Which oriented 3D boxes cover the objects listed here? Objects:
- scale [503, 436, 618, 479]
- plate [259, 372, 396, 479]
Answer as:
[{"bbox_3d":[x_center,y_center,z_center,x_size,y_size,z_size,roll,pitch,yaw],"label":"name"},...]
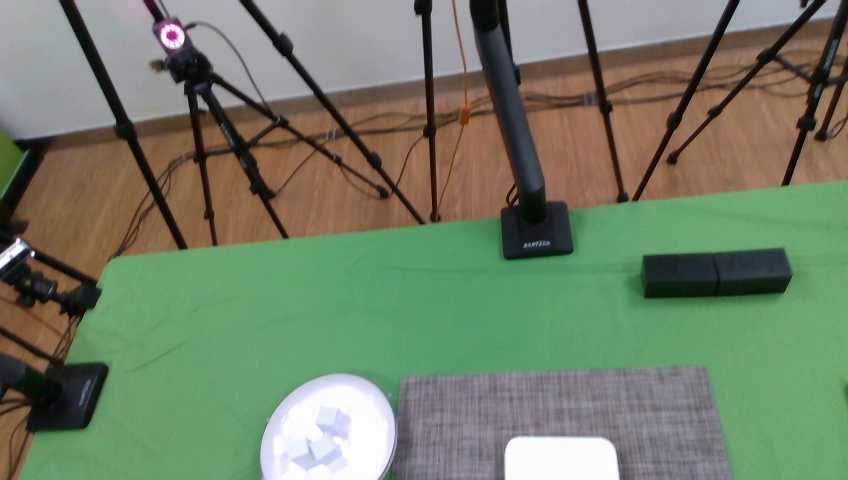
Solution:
[{"bbox_3d":[0.177,0.352,0.773,0.148,0.032,0.199,-5,53,12],"label":"scale"},{"bbox_3d":[-0.140,0.299,0.896,0.207,0.039,0.205,-7,53,9],"label":"plate"}]
